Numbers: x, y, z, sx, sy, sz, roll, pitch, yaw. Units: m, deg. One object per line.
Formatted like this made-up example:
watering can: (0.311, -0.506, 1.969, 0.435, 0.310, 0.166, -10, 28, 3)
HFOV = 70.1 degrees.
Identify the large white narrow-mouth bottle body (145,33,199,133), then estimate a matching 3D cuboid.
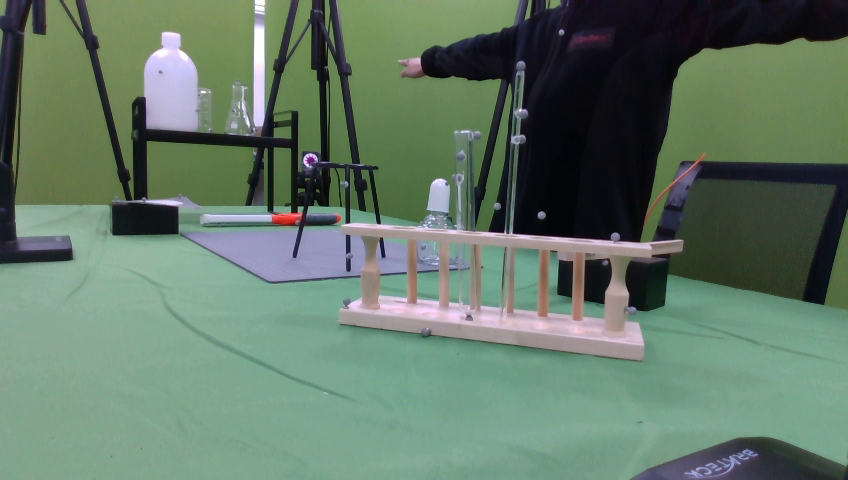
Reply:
large white narrow-mouth bottle body: (-0.513, -0.318, 1.231, 0.102, 0.194, 0.102, 2, 7, 0)

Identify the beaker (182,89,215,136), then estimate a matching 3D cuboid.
beaker: (-0.511, -0.285, 1.353, 0.084, 0.100, 0.073, -2, 8, -25)

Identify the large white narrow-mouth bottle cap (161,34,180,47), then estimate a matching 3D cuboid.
large white narrow-mouth bottle cap: (-0.511, -0.401, 1.220, 0.038, 0.024, 0.037, 2, 7, 0)

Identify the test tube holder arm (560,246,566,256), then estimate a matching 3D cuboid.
test tube holder arm: (0.173, 0.007, 0.611, 0.088, 0.015, 0.010, -3, 9, -30)

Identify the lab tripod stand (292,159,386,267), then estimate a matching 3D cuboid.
lab tripod stand: (-0.105, -0.039, 0.798, 0.148, 0.131, 0.148, 2, 5, 0)

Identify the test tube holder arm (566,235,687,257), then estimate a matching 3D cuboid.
test tube holder arm: (0.215, 0.006, 0.630, 0.179, 0.015, 0.013, -3, 9, -31)

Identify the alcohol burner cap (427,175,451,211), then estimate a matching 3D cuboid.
alcohol burner cap: (0.023, -0.064, 0.822, 0.034, 0.048, 0.034, 8, 5, 0)

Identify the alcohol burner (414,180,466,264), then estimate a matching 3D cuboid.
alcohol burner: (0.021, -0.028, 0.826, 0.078, 0.119, 0.078, 0, 6, 0)

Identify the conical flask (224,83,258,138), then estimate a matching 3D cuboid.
conical flask: (-0.422, -0.299, 1.395, 0.075, 0.122, 0.075, 2, 7, 0)

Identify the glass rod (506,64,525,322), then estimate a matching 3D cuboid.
glass rod: (0.069, -0.030, 0.458, 0.008, 0.199, 0.008, 0, 15, 0)

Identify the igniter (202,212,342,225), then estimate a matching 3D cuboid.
igniter: (-0.298, -0.044, 1.216, 0.278, 0.025, 0.057, -3, -2, -32)

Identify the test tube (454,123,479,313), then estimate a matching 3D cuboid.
test tube: (0.034, -0.016, 0.477, 0.017, 0.150, 0.017, -2, 9, 1)

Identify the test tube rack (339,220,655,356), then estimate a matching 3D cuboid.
test tube rack: (0.056, 0.032, 0.495, 0.242, 0.085, 0.067, 4, 7, 15)

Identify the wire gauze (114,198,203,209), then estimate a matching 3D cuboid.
wire gauze: (-0.447, -0.062, 1.015, 0.126, 0.011, 0.121, -2, 8, -31)
